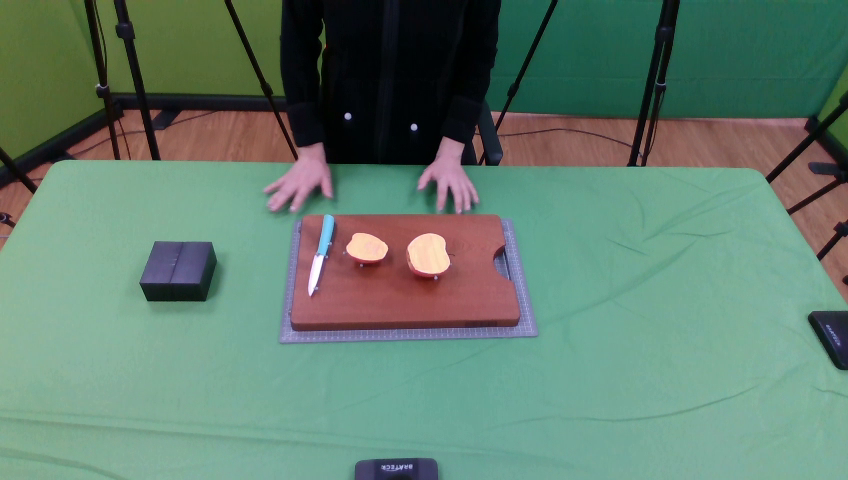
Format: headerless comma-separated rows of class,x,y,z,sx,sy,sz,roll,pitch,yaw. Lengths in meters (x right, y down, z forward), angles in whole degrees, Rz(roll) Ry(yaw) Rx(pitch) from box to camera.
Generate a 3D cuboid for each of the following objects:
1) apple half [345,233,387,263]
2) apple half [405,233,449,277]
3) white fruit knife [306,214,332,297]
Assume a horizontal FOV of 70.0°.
apple half,-0.109,0.023,1.121,0.081,0.033,0.081,13,36,-10
apple half,0.003,0.033,1.103,0.075,0.053,0.080,-12,72,-18
white fruit knife,-0.195,0.025,1.125,0.027,0.016,0.206,-16,43,21
